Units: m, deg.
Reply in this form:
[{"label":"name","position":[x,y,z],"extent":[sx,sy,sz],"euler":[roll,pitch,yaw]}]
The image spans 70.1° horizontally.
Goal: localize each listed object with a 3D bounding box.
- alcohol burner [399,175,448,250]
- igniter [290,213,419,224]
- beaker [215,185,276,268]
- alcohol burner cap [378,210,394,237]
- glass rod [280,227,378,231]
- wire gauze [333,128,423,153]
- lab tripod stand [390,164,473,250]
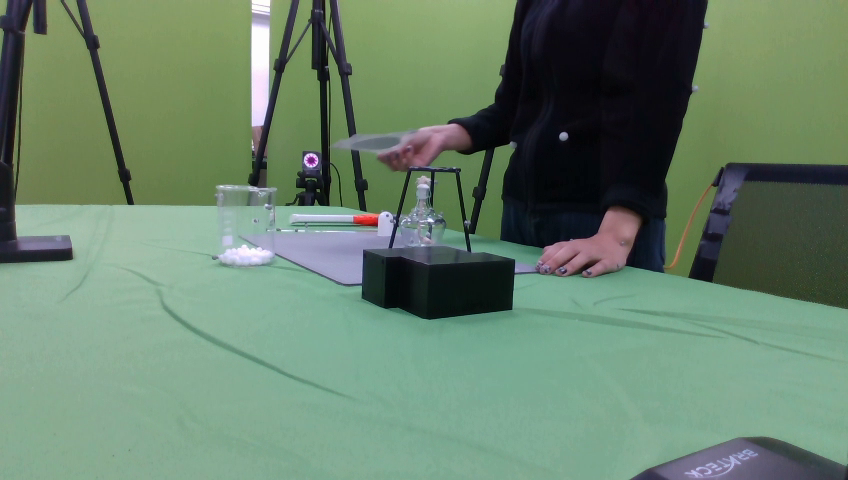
[{"label":"alcohol burner","position":[-0.001,-0.044,0.962],"extent":[0.078,0.119,0.078],"euler":[0,8,0]},{"label":"igniter","position":[-0.143,-0.046,1.288],"extent":[0.278,0.025,0.057],"euler":[-1,-3,-24]},{"label":"beaker","position":[-0.226,-0.019,0.773],"extent":[0.074,0.100,0.084],"euler":[5,7,14]},{"label":"alcohol burner cap","position":[-0.069,-0.031,1.112],"extent":[0.034,0.048,0.034],"euler":[1,9,0]},{"label":"glass rod","position":[-0.175,-0.021,1.161],"extent":[0.200,0.008,0.008],"euler":[0,7,-15]},{"label":"wire gauze","position":[-0.079,-0.169,1.020],"extent":[0.122,0.011,0.124],"euler":[-4,-6,-29]},{"label":"lab tripod stand","position":[0.011,-0.054,0.960],"extent":[0.148,0.131,0.148],"euler":[2,9,0]}]
